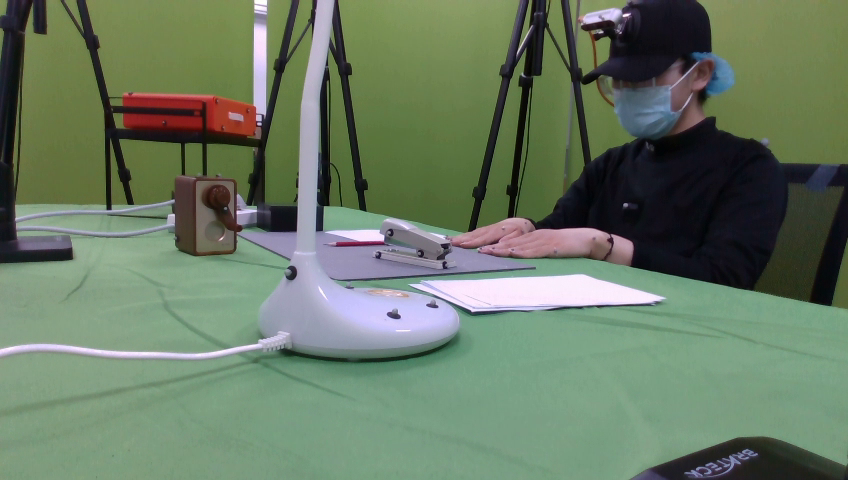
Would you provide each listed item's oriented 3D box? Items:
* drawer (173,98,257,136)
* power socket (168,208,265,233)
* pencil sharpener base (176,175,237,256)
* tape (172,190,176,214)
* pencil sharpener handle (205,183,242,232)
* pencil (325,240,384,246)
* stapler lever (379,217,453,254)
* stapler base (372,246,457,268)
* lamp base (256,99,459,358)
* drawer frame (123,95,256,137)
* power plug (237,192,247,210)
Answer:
[{"bbox_3d":[-0.518,-0.279,1.376,0.211,0.073,0.195,3,8,9],"label":"drawer"},{"bbox_3d":[-0.381,-0.038,1.129,0.072,0.032,0.227,4,8,17],"label":"power socket"},{"bbox_3d":[-0.304,-0.035,0.847,0.062,0.107,0.076,-4,10,-42],"label":"pencil sharpener base"},{"bbox_3d":[-0.515,-0.087,1.388,0.117,0.052,0.117,3,7,0],"label":"tape"},{"bbox_3d":[-0.265,-0.043,0.813,0.036,0.068,0.030,-32,28,-35],"label":"pencil sharpener handle"},{"bbox_3d":[-0.066,0.003,0.979,0.195,0.012,0.012,-3,9,-25],"label":"pencil"},{"bbox_3d":[-0.013,-0.007,0.828,0.117,0.040,0.027,9,11,39],"label":"stapler lever"},{"bbox_3d":[-0.016,0.017,0.831,0.130,0.024,0.041,10,12,39],"label":"stapler base"},{"bbox_3d":[-0.055,-0.013,0.463,0.160,0.180,0.180,6,11,27],"label":"lamp base"},{"bbox_3d":[-0.523,-0.280,1.376,0.213,0.082,0.202,3,8,8],"label":"drawer frame"},{"bbox_3d":[-0.386,-0.071,1.204,0.072,0.052,0.035,7,9,26],"label":"power plug"}]
